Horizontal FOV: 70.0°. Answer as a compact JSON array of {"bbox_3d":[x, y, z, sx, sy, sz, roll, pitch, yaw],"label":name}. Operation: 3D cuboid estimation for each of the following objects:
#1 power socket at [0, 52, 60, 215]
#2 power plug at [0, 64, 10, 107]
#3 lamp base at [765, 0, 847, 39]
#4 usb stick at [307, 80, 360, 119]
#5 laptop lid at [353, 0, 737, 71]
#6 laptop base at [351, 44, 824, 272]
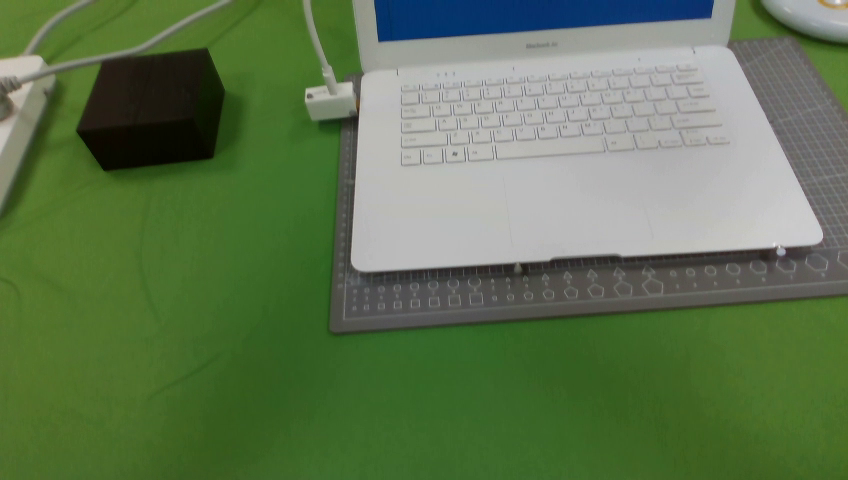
[{"bbox_3d":[-0.410,-0.102,0.572,0.072,0.033,0.224,-6,52,-1],"label":"power socket"},{"bbox_3d":[-0.404,-0.148,0.543,0.053,0.073,0.035,4,36,-20],"label":"power plug"},{"bbox_3d":[0.433,-0.313,0.568,0.159,0.182,0.178,25,57,22],"label":"lamp base"},{"bbox_3d":[-0.077,-0.131,0.561,0.059,0.027,0.021,-5,52,2],"label":"usb stick"},{"bbox_3d":[0.107,-0.271,0.526,0.357,0.244,0.013,-5,32,3],"label":"laptop lid"},{"bbox_3d":[0.118,-0.077,0.519,0.354,0.023,0.233,-3,56,2],"label":"laptop base"}]
